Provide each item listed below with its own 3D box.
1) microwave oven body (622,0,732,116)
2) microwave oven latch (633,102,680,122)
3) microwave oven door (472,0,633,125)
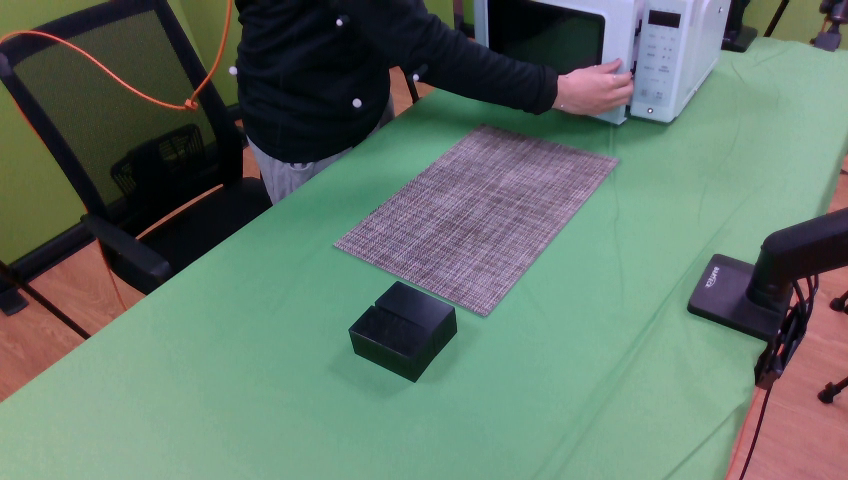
[{"bbox_3d":[0.377,-0.463,1.267,0.438,0.261,0.327,21,49,30],"label":"microwave oven body"},{"bbox_3d":[0.444,-0.250,1.157,0.078,0.029,0.030,22,49,31],"label":"microwave oven latch"},{"bbox_3d":[0.244,-0.384,1.188,0.353,0.245,0.039,27,51,34],"label":"microwave oven door"}]
